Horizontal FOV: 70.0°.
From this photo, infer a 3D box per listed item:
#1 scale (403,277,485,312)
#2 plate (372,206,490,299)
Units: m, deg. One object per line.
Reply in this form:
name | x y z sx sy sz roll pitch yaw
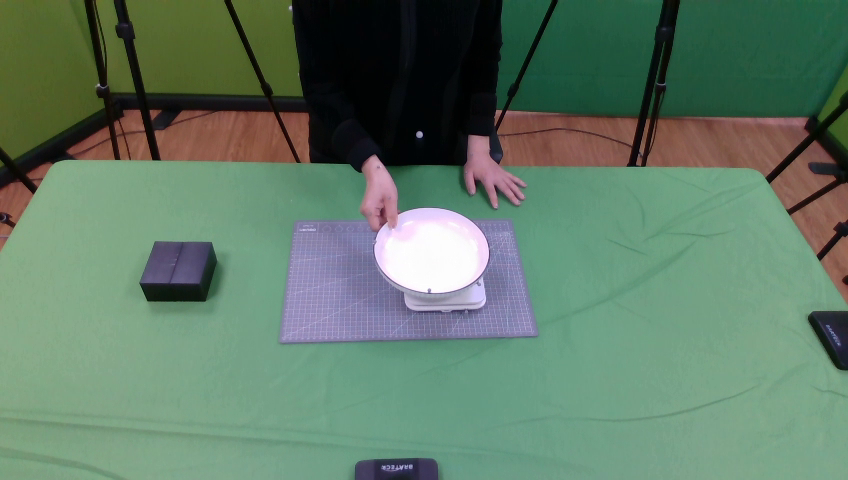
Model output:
scale | 0.031 0.050 1.141 0.149 0.032 0.199 -1 46 -6
plate | 0.011 0.024 1.080 0.209 0.038 0.208 2 48 -2
